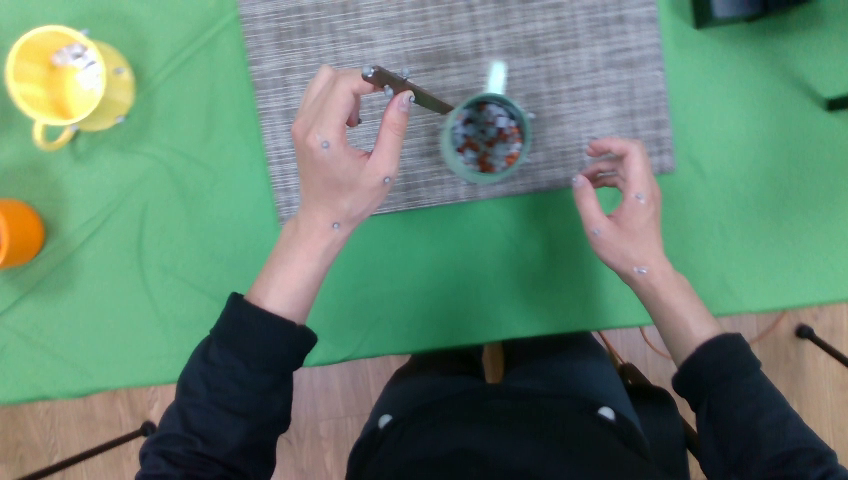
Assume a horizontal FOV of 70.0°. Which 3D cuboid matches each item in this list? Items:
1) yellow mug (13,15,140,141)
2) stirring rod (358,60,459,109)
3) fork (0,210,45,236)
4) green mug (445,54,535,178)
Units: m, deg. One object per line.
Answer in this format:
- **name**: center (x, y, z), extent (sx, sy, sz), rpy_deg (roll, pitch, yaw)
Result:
- **yellow mug**: center (-0.372, -0.165, 0.644), extent (0.100, 0.064, 0.131), rpy_deg (25, 97, -3)
- **stirring rod**: center (-0.006, -0.114, 0.455), extent (0.014, 0.176, 0.006), rpy_deg (-30, 84, 20)
- **fork**: center (-0.509, -0.024, 0.618), extent (0.209, 0.018, 0.028), rpy_deg (6, 96, -44)
- **green mug**: center (0.071, -0.127, 0.623), extent (0.092, 0.105, 0.125), rpy_deg (9, 96, 0)
